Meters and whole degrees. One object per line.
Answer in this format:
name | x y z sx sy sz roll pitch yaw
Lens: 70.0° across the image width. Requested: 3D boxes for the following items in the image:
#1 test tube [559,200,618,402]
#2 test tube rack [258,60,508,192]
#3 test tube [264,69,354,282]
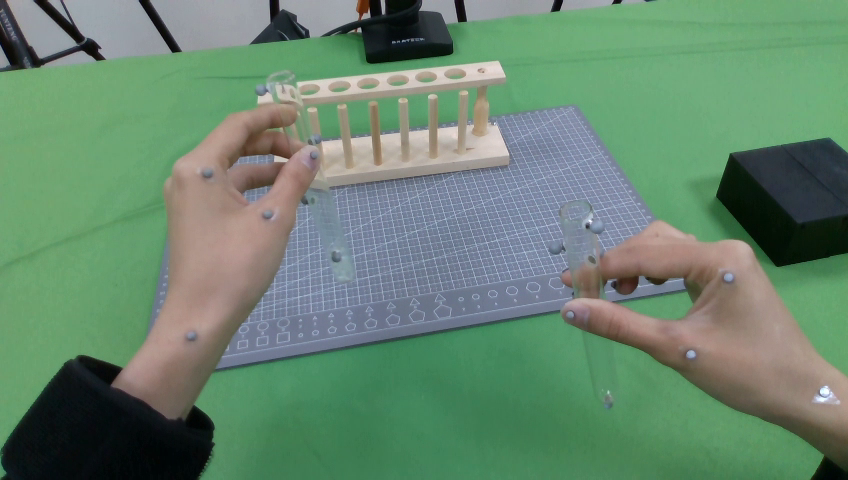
test tube | 0.090 0.040 0.322 0.017 0.152 0.017 -12 40 11
test tube rack | -0.038 -0.116 0.617 0.242 0.086 0.066 -7 44 -4
test tube | -0.067 -0.032 0.372 0.017 0.152 0.017 -8 38 6
